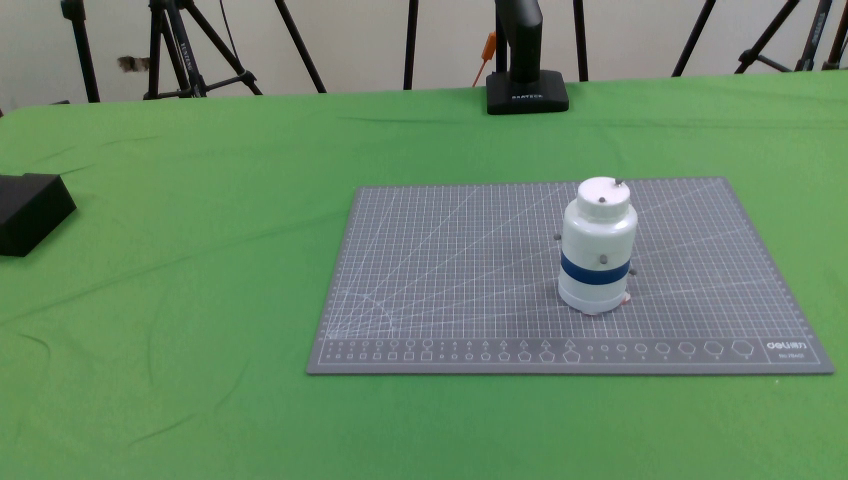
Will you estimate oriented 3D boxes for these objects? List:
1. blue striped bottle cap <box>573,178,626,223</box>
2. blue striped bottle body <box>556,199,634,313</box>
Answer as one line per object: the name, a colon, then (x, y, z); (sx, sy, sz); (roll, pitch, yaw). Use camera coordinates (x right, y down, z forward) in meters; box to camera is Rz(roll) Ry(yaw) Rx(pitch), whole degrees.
blue striped bottle cap: (0.152, -0.035, 0.523); (0.044, 0.021, 0.044); (-2, 39, 2)
blue striped bottle body: (0.156, 0.005, 0.555); (0.063, 0.122, 0.062); (-3, 39, 3)
